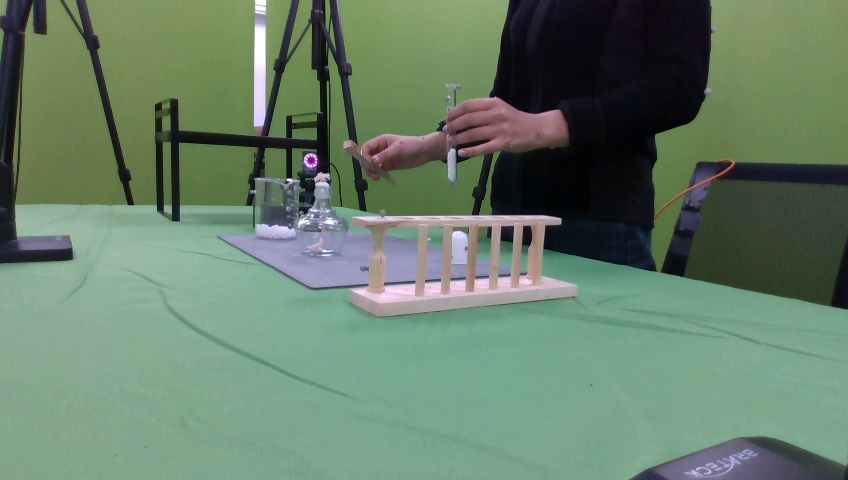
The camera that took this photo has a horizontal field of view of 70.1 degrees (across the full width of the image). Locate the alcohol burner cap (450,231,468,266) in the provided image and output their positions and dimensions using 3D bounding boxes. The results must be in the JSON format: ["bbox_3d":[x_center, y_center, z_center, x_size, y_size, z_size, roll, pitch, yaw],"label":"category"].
[{"bbox_3d":[0.046,0.012,0.839,0.034,0.048,0.034,3,6,0],"label":"alcohol burner cap"}]

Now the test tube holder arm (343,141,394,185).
[{"bbox_3d":[-0.100,-0.141,1.124,0.013,0.015,0.179,0,-16,24],"label":"test tube holder arm"}]

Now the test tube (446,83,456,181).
[{"bbox_3d":[0.042,-0.164,0.926,0.017,0.150,0.017,-1,20,1],"label":"test tube"}]

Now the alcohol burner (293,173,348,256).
[{"bbox_3d":[-0.146,-0.036,0.859,0.078,0.119,0.078,4,8,0],"label":"alcohol burner"}]

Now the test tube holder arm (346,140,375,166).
[{"bbox_3d":[-0.113,-0.154,1.082,0.010,0.015,0.088,0,-16,25],"label":"test tube holder arm"}]

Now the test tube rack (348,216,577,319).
[{"bbox_3d":[0.048,0.021,0.619,0.244,0.085,0.066,-2,8,-31],"label":"test tube rack"}]

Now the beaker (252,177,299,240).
[{"bbox_3d":[-0.245,-0.052,1.005,0.074,0.100,0.083,-3,10,-32],"label":"beaker"}]
